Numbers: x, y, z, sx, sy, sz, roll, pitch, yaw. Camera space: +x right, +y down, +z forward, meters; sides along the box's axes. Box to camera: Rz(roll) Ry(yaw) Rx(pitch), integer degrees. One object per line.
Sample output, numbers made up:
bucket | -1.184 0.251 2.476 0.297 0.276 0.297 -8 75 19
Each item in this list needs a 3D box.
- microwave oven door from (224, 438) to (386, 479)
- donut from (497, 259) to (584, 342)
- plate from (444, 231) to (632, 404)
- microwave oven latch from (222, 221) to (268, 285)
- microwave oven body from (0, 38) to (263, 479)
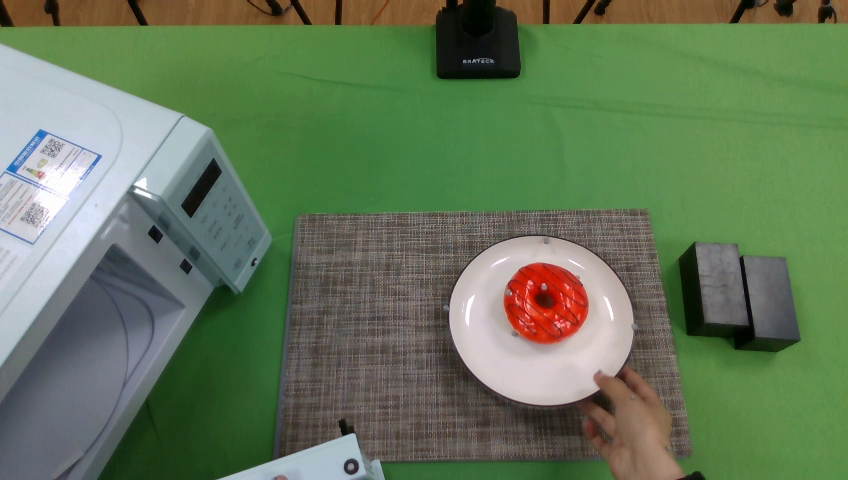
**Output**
microwave oven door | -0.213 0.244 0.506 0.356 0.245 0.039 -17 67 -8
donut | 0.133 0.068 0.692 0.099 0.048 0.098 -1 63 2
plate | 0.128 0.088 0.694 0.209 0.038 0.207 -2 62 3
microwave oven latch | -0.215 0.011 0.718 0.030 0.030 0.079 23 69 9
microwave oven body | -0.422 0.065 0.587 0.325 0.262 0.439 22 69 8
